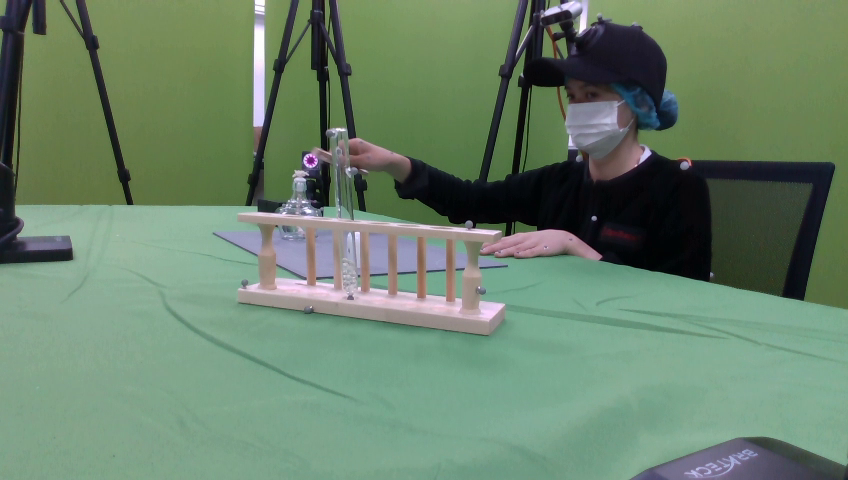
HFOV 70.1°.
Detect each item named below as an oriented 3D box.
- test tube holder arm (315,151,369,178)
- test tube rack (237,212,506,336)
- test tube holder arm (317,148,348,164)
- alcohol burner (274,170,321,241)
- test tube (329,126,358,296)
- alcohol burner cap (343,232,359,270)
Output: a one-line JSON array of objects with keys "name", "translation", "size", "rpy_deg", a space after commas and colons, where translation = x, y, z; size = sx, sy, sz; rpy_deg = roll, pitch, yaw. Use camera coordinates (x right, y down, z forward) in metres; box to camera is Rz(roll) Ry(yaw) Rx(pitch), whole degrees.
[{"name": "test tube holder arm", "translation": [-0.157, -0.146, 1.182], "size": [0.015, 0.013, 0.179], "rpy_deg": [44, 10, 23]}, {"name": "test tube rack", "translation": [-0.049, 0.024, 0.552], "size": [0.242, 0.085, 0.067], "rpy_deg": [5, 8, 18]}, {"name": "test tube holder arm", "translation": [-0.172, -0.156, 1.140], "size": [0.015, 0.010, 0.088], "rpy_deg": [44, 11, 23]}, {"name": "alcohol burner", "translation": [-0.212, -0.058, 1.015], "size": [0.078, 0.119, 0.078], "rpy_deg": [4, 6, 0]}, {"name": "test tube", "translation": [-0.071, -0.025, 0.535], "size": [0.017, 0.150, 0.017], "rpy_deg": [-3, 8, 1]}, {"name": "alcohol burner cap", "translation": [-0.087, 0.013, 0.776], "size": [0.034, 0.048, 0.034], "rpy_deg": [3, 7, 0]}]
